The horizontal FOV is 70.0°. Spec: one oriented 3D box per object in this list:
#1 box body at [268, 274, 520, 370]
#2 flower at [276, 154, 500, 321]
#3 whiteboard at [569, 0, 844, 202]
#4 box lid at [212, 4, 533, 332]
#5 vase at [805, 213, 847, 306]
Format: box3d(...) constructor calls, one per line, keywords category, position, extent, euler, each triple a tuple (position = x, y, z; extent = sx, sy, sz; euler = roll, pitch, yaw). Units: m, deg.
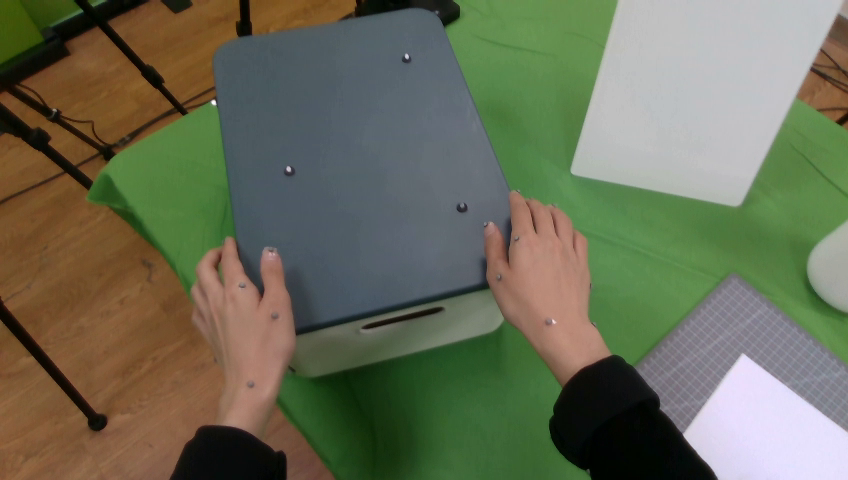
box3d(category="box body", position=(-0.066, -0.061, 0.674), extent=(0.254, 0.161, 0.360), euler=(-13, 61, -8))
box3d(category="flower", position=(-0.060, -0.018, 0.730), extent=(0.359, 0.038, 0.044), euler=(35, 96, 24))
box3d(category="whiteboard", position=(0.322, -0.227, 0.730), extent=(0.217, 0.308, 0.143), euler=(13, 41, 7))
box3d(category="box lid", position=(-0.066, -0.100, 0.611), extent=(0.264, 0.015, 0.368), euler=(-13, 61, -9))
box3d(category="vase", position=(0.492, -0.009, 0.633), extent=(0.098, 0.201, 0.097), euler=(0, 58, 0))
